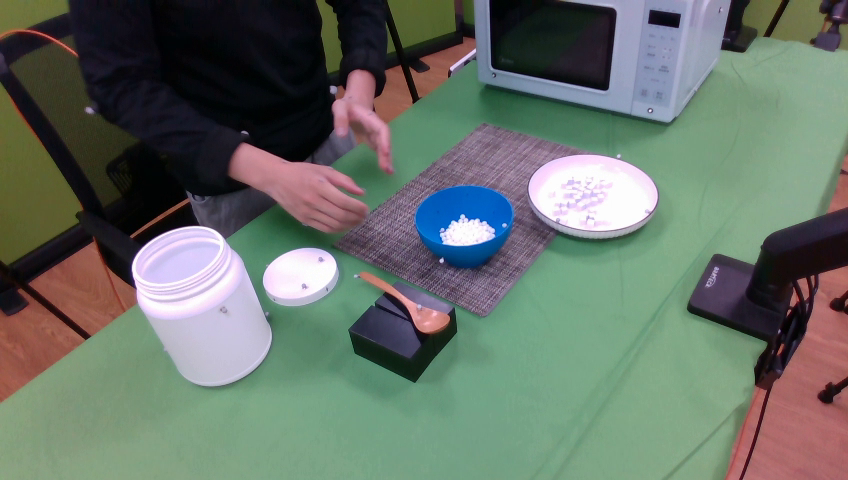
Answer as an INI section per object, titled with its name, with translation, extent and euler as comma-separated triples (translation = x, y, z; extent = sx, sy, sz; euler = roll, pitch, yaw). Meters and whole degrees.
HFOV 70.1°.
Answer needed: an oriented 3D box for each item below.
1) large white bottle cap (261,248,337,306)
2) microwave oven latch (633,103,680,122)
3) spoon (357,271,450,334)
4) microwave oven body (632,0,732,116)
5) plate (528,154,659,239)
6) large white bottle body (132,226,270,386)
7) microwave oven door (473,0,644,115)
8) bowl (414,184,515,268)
[large white bottle cap]
translation = -0.193, 0.056, 0.934
extent = 0.115, 0.018, 0.114
euler = -4, 41, 4
[microwave oven latch]
translation = 0.444, -0.249, 1.157
extent = 0.078, 0.029, 0.030
euler = 21, 49, 30
[spoon]
translation = -0.034, 0.078, 0.812
extent = 0.042, 0.022, 0.192
euler = -35, 42, -24
[microwave oven body]
translation = 0.377, -0.462, 1.267
extent = 0.438, 0.261, 0.327
euler = 21, 48, 30
[plate]
translation = 0.274, -0.069, 0.993
extent = 0.209, 0.038, 0.208
euler = -2, 42, 2
[large white bottle body]
translation = -0.286, 0.085, 0.783
extent = 0.130, 0.185, 0.130
euler = -4, 41, 4
[microwave oven door]
translation = 0.257, -0.396, 1.199
extent = 0.353, 0.245, 0.039
euler = 21, 48, 29
[bowl]
translation = 0.063, -0.010, 0.922
extent = 0.151, 0.077, 0.150
euler = -4, 40, 4
